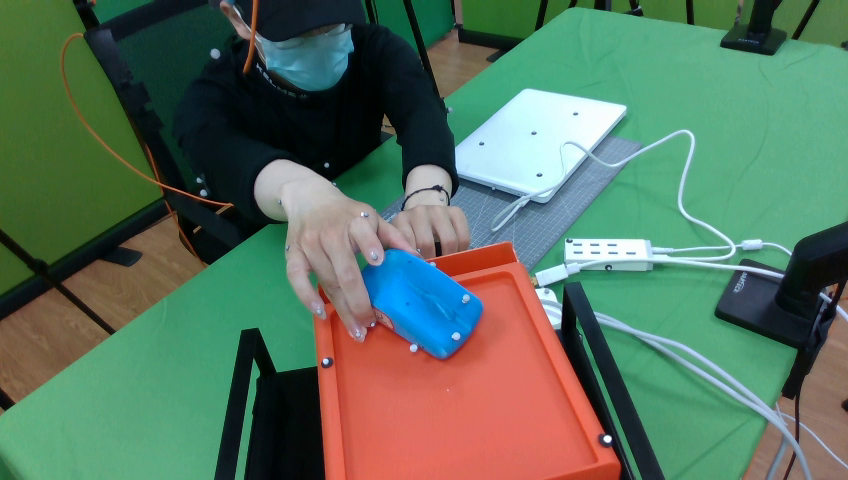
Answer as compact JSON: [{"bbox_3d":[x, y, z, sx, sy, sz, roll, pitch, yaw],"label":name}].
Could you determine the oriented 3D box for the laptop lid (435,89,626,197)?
[{"bbox_3d":[0.211,-0.202,1.165,0.240,0.013,0.358,21,47,32],"label":"laptop lid"}]

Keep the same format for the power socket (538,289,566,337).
[{"bbox_3d":[0.081,0.111,0.822,0.227,0.033,0.072,-7,41,-1],"label":"power socket"}]

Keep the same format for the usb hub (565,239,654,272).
[{"bbox_3d":[0.275,0.022,0.906,0.125,0.025,0.049,1,41,9],"label":"usb hub"}]

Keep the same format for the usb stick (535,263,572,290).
[{"bbox_3d":[0.182,0.057,0.875,0.059,0.027,0.021,-30,88,-7],"label":"usb stick"}]

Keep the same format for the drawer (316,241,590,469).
[{"bbox_3d":[0.013,0.107,0.521,0.195,0.073,0.210,-10,40,-5],"label":"drawer"}]

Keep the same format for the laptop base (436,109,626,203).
[{"bbox_3d":[0.214,-0.192,1.172,0.233,0.023,0.355,19,46,32],"label":"laptop base"}]

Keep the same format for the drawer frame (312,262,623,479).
[{"bbox_3d":[0.021,0.129,0.494,0.202,0.083,0.212,-12,41,-6],"label":"drawer frame"}]

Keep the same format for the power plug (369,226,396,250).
[{"bbox_3d":[-0.064,0.008,0.956,0.035,0.053,0.072,-28,52,2],"label":"power plug"}]

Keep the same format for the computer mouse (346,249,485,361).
[{"bbox_3d":[-0.008,0.050,0.510,0.116,0.041,0.063,29,59,26],"label":"computer mouse"}]
